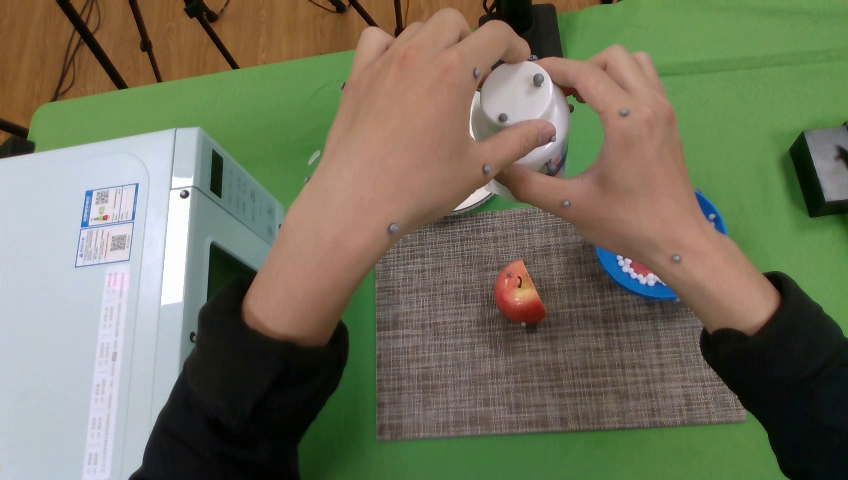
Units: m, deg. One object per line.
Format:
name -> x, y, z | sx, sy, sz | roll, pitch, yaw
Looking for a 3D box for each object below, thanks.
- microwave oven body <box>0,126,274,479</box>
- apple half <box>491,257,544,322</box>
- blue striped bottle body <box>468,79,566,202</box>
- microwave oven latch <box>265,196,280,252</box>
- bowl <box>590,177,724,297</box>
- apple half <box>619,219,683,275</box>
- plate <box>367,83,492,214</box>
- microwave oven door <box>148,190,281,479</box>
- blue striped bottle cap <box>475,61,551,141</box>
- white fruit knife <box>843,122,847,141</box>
microwave oven body -> -0.377, 0.131, 0.750 | 0.326, 0.262, 0.438 | -8, 70, 8
apple half -> 0.114, 0.069, 0.772 | 0.053, 0.075, 0.080 | -26, 71, 6
blue striped bottle body -> 0.066, -0.071, 0.416 | 0.063, 0.121, 0.063 | -2, 78, 12
microwave oven latch -> -0.225, -0.021, 0.877 | 0.030, 0.030, 0.078 | -8, 70, 8
bowl -> 0.284, 0.006, 0.757 | 0.151, 0.077, 0.150 | -4, 70, 11
apple half -> 0.284, 0.005, 0.752 | 0.081, 0.033, 0.080 | -4, 69, 10
plate -> 0.022, -0.130, 0.885 | 0.207, 0.039, 0.206 | -3, 71, 10
microwave oven door -> -0.232, 0.149, 0.709 | 0.039, 0.246, 0.353 | -8, 69, 9
blue striped bottle cap -> 0.053, -0.083, 0.362 | 0.044, 0.021, 0.044 | -4, 74, 14
white fruit knife -> 0.532, -0.043, 0.723 | 0.016, 0.027, 0.207 | -17, 85, 24
